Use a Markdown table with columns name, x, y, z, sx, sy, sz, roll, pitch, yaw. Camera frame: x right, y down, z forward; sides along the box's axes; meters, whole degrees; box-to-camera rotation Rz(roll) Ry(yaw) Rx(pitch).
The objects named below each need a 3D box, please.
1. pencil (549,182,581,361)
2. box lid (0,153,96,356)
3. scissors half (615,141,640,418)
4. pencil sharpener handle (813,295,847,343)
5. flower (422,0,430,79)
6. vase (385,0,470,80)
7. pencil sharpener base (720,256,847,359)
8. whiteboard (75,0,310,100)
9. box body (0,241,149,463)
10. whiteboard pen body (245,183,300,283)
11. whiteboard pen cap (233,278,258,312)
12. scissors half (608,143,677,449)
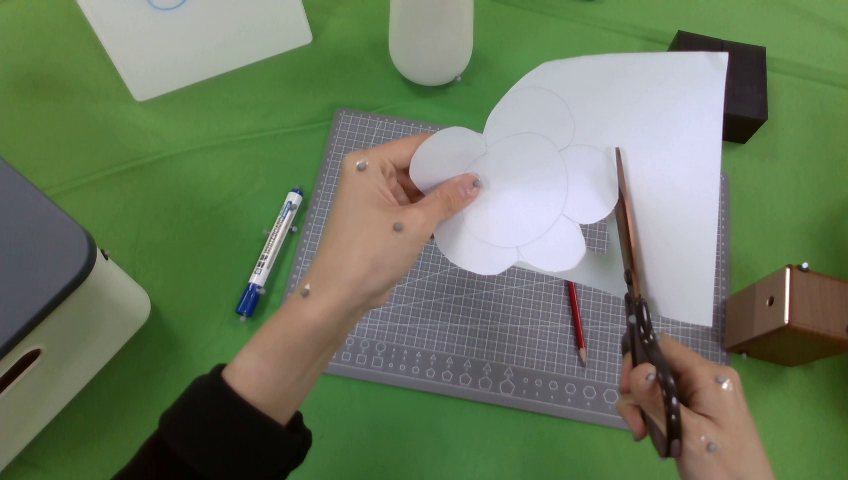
| name | x | y | z | sx | sy | sz | roll | pitch | yaw |
| --- | --- | --- | --- | --- | --- | --- | --- | --- | --- |
| pencil | 0.147 | 0.029 | 0.628 | 0.012 | 0.012 | 0.192 | -3 | 71 | -3 |
| box lid | -0.466 | -0.007 | 0.461 | 0.370 | 0.015 | 0.262 | 36 | 71 | 11 |
| scissors half | 0.122 | 0.027 | 0.363 | 0.013 | 0.040 | 0.176 | -8 | 109 | 6 |
| pencil sharpener handle | 0.391 | 0.077 | 0.556 | 0.030 | 0.068 | 0.035 | 14 | 63 | 1 |
| flower | 0.001 | -0.305 | 0.565 | 0.044 | 0.365 | 0.038 | 3 | 51 | 3 |
| vase | 0.004 | -0.261 | 0.637 | 0.098 | 0.201 | 0.097 | 0 | 67 | 0 |
| pencil sharpener base | 0.340 | 0.067 | 0.568 | 0.077 | 0.107 | 0.061 | 14 | 68 | 1 |
| whiteboard | -0.280 | -0.344 | 0.636 | 0.217 | 0.308 | 0.142 | -23 | 51 | -10 |
| box body | -0.466 | 0.022 | 0.530 | 0.362 | 0.161 | 0.253 | 36 | 72 | 11 |
| whiteboard pen body | -0.160 | 0.002 | 0.625 | 0.017 | 0.017 | 0.140 | 16 | 67 | 5 |
| whiteboard pen cap | -0.176 | 0.054 | 0.602 | 0.018 | 0.018 | 0.033 | 16 | 65 | 5 |
| scissors half | 0.121 | 0.030 | 0.341 | 0.013 | 0.040 | 0.174 | -9 | 84 | 1 |
